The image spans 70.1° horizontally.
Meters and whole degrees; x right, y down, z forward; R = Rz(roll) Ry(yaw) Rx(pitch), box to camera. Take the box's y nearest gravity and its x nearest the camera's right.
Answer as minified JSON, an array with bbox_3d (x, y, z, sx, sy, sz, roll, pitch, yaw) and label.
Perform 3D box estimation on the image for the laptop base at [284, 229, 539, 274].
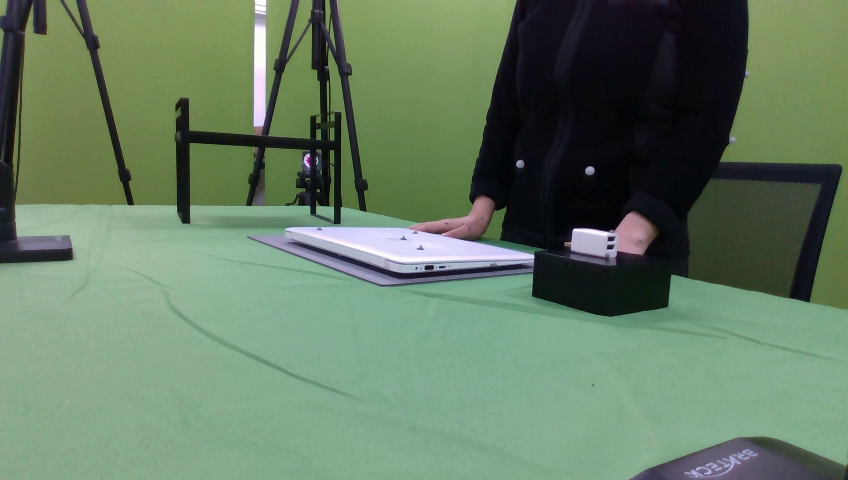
[{"bbox_3d":[-0.034,0.013,0.898,0.237,0.023,0.352,1,7,-36],"label":"laptop base"}]

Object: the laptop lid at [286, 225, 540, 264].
[{"bbox_3d":[-0.032,0.002,0.898,0.243,0.013,0.355,0,8,-34],"label":"laptop lid"}]

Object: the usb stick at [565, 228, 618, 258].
[{"bbox_3d":[0.175,0.002,0.642,0.021,0.027,0.059,-5,8,-34],"label":"usb stick"}]
